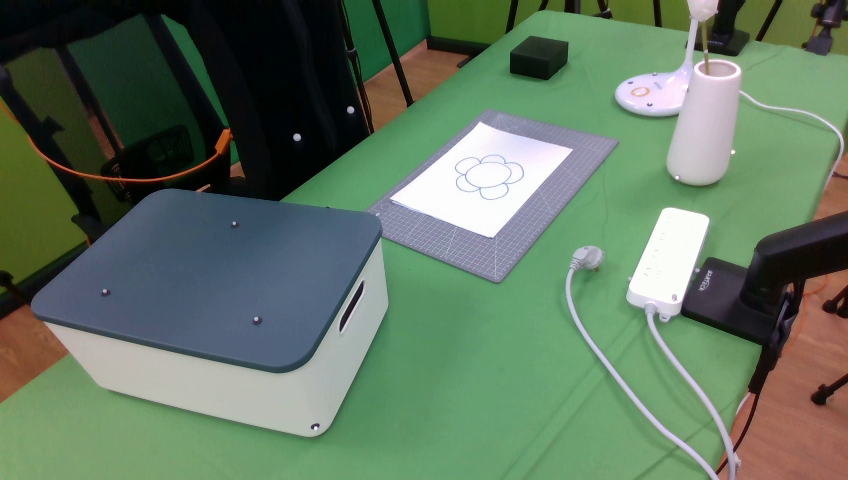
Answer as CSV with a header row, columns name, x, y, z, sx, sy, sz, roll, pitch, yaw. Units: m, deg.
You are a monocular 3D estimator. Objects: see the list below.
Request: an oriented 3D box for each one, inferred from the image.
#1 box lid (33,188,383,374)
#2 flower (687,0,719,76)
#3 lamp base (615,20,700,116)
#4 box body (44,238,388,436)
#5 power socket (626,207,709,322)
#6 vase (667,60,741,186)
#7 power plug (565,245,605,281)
name,x,y,z,sx,sy,sz,roll,pitch,yaw
box lid,-0.257,0.032,0.751,0.370,0.015,0.263,8,42,16
flower,0.436,-0.242,0.934,0.038,0.364,0.043,-24,49,8
lamp base,0.484,-0.364,1.211,0.180,0.181,0.159,-15,41,-14
box body,-0.251,0.088,0.799,0.362,0.161,0.254,7,42,16
power socket,0.360,0.026,0.886,0.072,0.033,0.227,17,46,26
vase,0.463,-0.189,0.994,0.098,0.201,0.097,-4,40,3
power plug,0.234,0.038,0.890,0.072,0.053,0.035,-45,35,1
